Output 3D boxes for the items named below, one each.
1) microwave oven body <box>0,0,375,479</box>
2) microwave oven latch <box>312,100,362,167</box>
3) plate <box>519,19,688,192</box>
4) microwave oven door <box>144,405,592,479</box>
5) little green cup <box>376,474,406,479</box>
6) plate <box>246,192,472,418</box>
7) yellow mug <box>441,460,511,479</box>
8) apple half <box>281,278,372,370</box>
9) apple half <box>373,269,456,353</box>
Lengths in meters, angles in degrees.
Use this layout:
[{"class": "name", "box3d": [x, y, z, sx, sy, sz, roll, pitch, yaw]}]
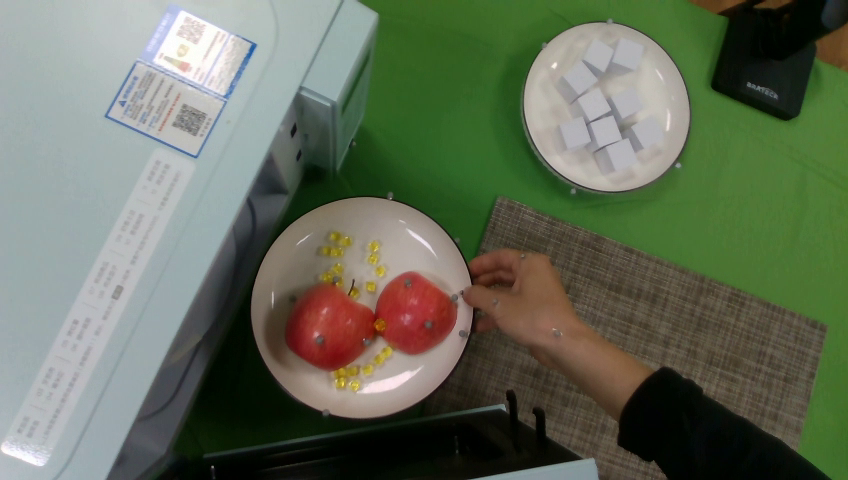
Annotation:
[{"class": "microwave oven body", "box3d": [-0.283, -0.031, 0.515, 0.327, 0.260, 0.440, 24, 82, -6]}, {"class": "microwave oven latch", "box3d": [-0.094, -0.120, 0.652, 0.030, 0.029, 0.079, 26, 82, -6]}, {"class": "plate", "box3d": [0.210, -0.157, 0.723, 0.208, 0.039, 0.207, 1, 84, -9]}, {"class": "microwave oven door", "box3d": [-0.067, 0.204, 0.522, 0.356, 0.244, 0.039, -7, 83, -10]}, {"class": "little green cup", "box3d": [-0.034, 0.279, 0.639, 0.062, 0.038, 0.061, 1, 83, -9]}, {"class": "plate", "box3d": [-0.059, 0.060, 0.572, 0.209, 0.038, 0.208, 1, 81, -3]}, {"class": "yellow mug", "box3d": [0.052, 0.305, 0.637, 0.100, 0.064, 0.130, 32, 83, -4]}, {"class": "apple half", "box3d": [-0.091, 0.076, 0.551, 0.081, 0.053, 0.074, 39, 83, 2]}, {"class": "apple half", "box3d": [-0.012, 0.067, 0.567, 0.081, 0.033, 0.081, 0, 80, 3]}]
